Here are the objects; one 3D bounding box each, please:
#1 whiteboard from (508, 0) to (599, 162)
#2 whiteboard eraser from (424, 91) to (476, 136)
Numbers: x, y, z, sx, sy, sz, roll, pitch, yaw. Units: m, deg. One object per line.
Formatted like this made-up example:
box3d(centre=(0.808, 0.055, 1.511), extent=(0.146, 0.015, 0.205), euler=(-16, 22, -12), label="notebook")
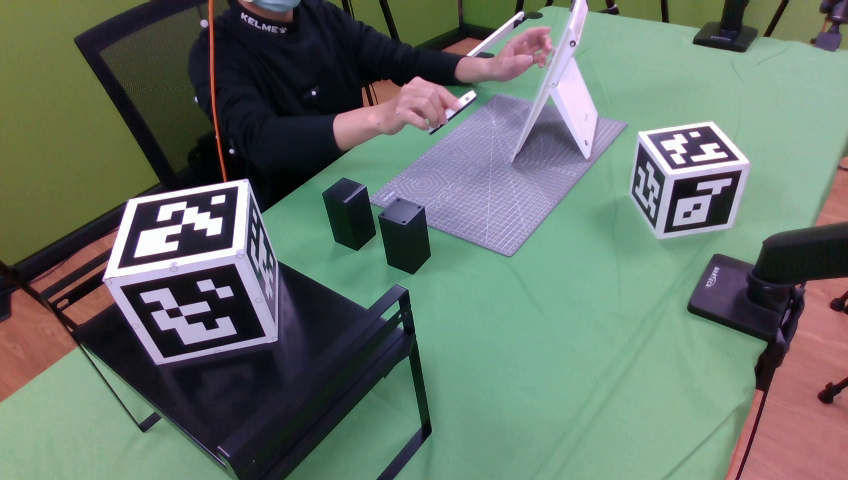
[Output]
box3d(centre=(0.285, -0.289, 1.090), extent=(0.144, 0.305, 0.217), euler=(22, 45, 3), label="whiteboard")
box3d(centre=(0.042, -0.207, 0.987), extent=(0.101, 0.019, 0.041), euler=(-36, 10, 23), label="whiteboard eraser")
